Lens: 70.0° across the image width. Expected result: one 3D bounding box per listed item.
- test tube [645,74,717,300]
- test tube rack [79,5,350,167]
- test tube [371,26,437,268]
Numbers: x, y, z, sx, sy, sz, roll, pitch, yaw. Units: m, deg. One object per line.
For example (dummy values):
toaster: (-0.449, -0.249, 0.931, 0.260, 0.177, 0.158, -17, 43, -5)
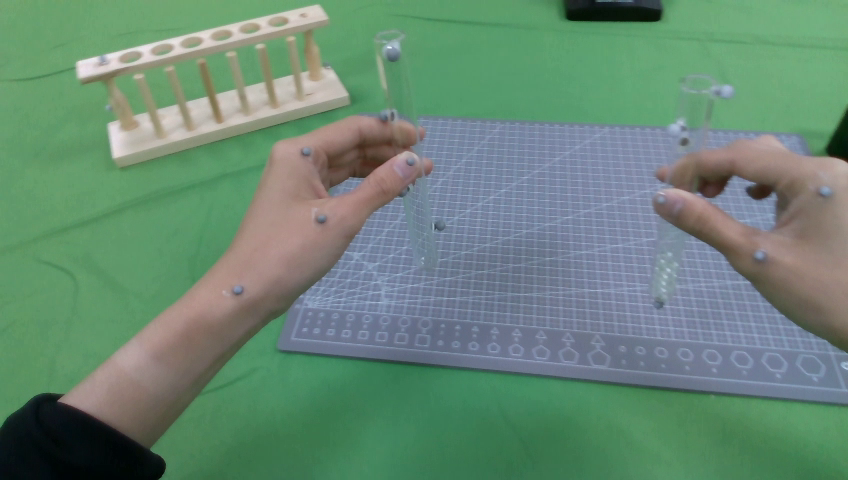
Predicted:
test tube: (0.134, -0.019, 0.324, 0.017, 0.152, 0.017, -6, 44, 6)
test tube rack: (-0.205, -0.161, 0.620, 0.243, 0.086, 0.066, -19, 49, -15)
test tube: (-0.009, -0.042, 0.338, 0.017, 0.152, 0.017, -6, 38, 5)
